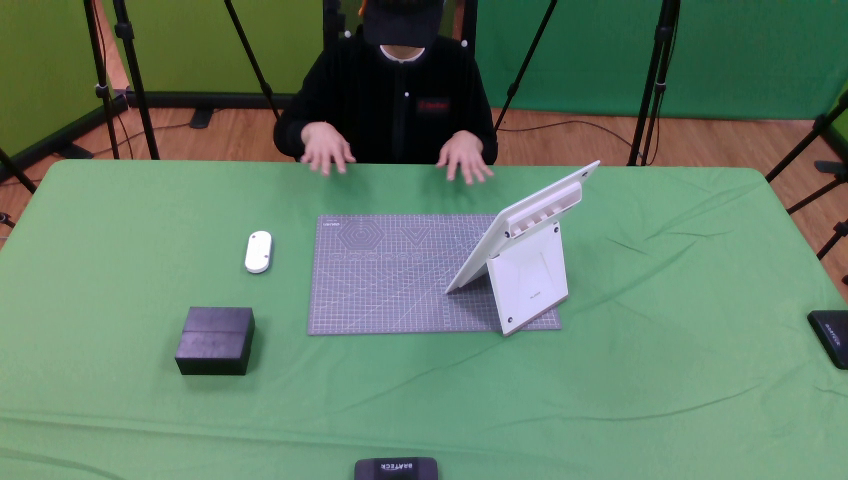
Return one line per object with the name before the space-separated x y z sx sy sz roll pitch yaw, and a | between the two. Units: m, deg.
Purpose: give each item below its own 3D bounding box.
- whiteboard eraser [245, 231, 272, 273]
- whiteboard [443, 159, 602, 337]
whiteboard eraser | -0.315 0.023 1.156 0.041 0.019 0.100 -1 45 -4
whiteboard | 0.193 0.036 1.018 0.217 0.306 0.143 -26 72 -26
